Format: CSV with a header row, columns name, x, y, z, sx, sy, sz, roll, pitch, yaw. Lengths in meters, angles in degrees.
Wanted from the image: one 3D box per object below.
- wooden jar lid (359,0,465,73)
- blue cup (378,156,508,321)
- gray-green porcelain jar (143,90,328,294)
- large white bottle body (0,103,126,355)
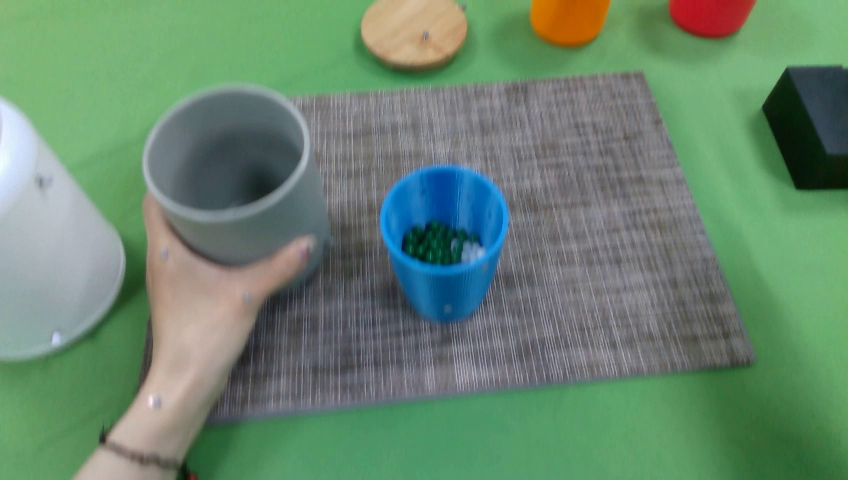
name,x,y,z,sx,sy,sz,roll,pitch,yaw
wooden jar lid,-0.012,-0.211,0.623,0.108,0.021,0.107,0,58,0
blue cup,0.014,0.011,0.435,0.092,0.101,0.092,-1,58,2
gray-green porcelain jar,-0.127,-0.026,0.441,0.106,0.127,0.105,1,61,-1
large white bottle body,-0.304,-0.014,0.408,0.130,0.186,0.129,0,58,1
